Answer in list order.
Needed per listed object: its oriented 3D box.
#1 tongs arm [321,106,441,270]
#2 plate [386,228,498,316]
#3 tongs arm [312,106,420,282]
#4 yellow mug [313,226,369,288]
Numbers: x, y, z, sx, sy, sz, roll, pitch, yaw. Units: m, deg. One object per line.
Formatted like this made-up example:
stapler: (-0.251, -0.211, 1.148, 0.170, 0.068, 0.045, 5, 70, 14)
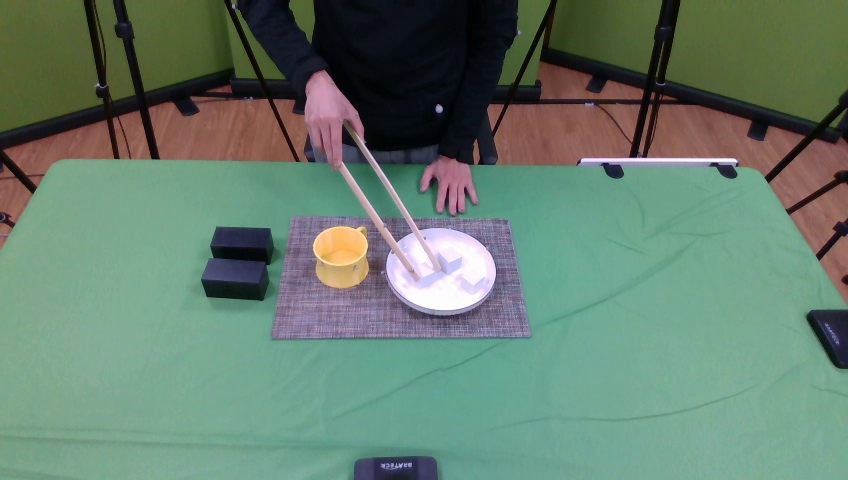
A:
tongs arm: (-0.081, -0.103, 1.140, 0.028, 0.028, 0.386, -30, 78, -22)
plate: (0.032, 0.062, 1.126, 0.208, 0.039, 0.206, 2, 46, -2)
tongs arm: (-0.106, -0.090, 1.126, 0.051, 0.026, 0.383, -31, 78, -25)
yellow mug: (-0.146, 0.021, 1.131, 0.099, 0.064, 0.130, 24, 49, 19)
